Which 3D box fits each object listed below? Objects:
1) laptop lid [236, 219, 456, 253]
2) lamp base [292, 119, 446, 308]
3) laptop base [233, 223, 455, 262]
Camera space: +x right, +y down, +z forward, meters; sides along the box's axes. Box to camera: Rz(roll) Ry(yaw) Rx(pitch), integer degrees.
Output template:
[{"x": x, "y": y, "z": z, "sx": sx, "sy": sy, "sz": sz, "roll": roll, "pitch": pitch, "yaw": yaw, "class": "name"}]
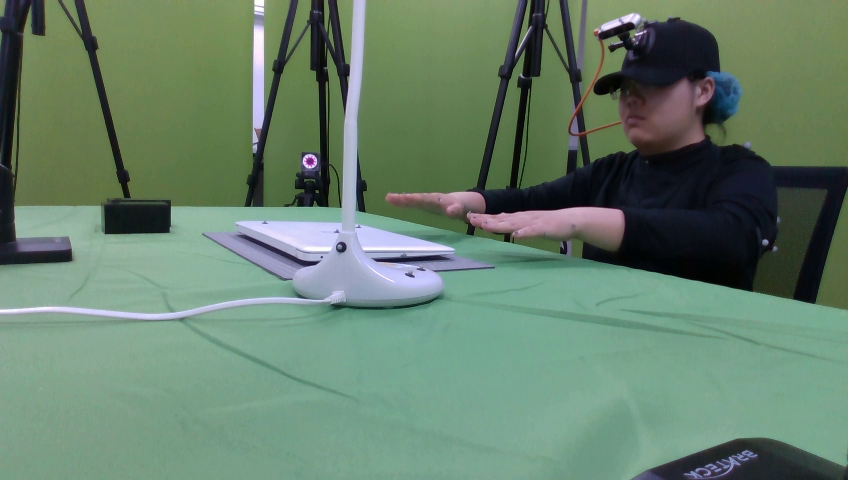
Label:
[{"x": -0.139, "y": -0.009, "z": 0.959, "sx": 0.243, "sy": 0.013, "sz": 0.355, "roll": 1, "pitch": 7, "yaw": -30, "class": "laptop lid"}, {"x": -0.056, "y": -0.030, "z": 0.616, "sx": 0.160, "sy": 0.180, "sz": 0.179, "roll": 3, "pitch": 10, "yaw": 8, "class": "lamp base"}, {"x": -0.142, "y": 0.003, "z": 0.959, "sx": 0.237, "sy": 0.023, "sz": 0.352, "roll": 2, "pitch": 6, "yaw": -32, "class": "laptop base"}]
